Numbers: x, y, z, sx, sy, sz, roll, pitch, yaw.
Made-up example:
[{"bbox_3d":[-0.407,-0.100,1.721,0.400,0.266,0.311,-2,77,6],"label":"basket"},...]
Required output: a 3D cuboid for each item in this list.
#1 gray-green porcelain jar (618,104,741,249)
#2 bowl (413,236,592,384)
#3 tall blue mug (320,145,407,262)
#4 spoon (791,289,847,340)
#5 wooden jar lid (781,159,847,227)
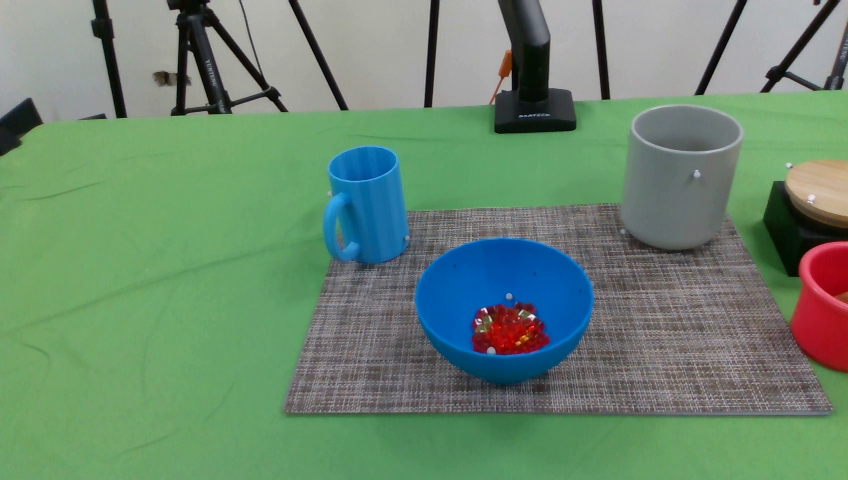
[{"bbox_3d":[0.262,-0.062,0.638,0.106,0.127,0.105,-4,38,4],"label":"gray-green porcelain jar"},{"bbox_3d":[0.068,0.072,0.532,0.151,0.077,0.150,-4,37,3],"label":"bowl"},{"bbox_3d":[-0.064,-0.030,0.658,0.078,0.109,0.106,-1,38,6],"label":"tall blue mug"},{"bbox_3d":[0.395,0.022,0.500,0.022,0.194,0.041,34,25,-22],"label":"spoon"},{"bbox_3d":[0.417,-0.046,0.606,0.108,0.021,0.107,-5,37,4],"label":"wooden jar lid"}]
